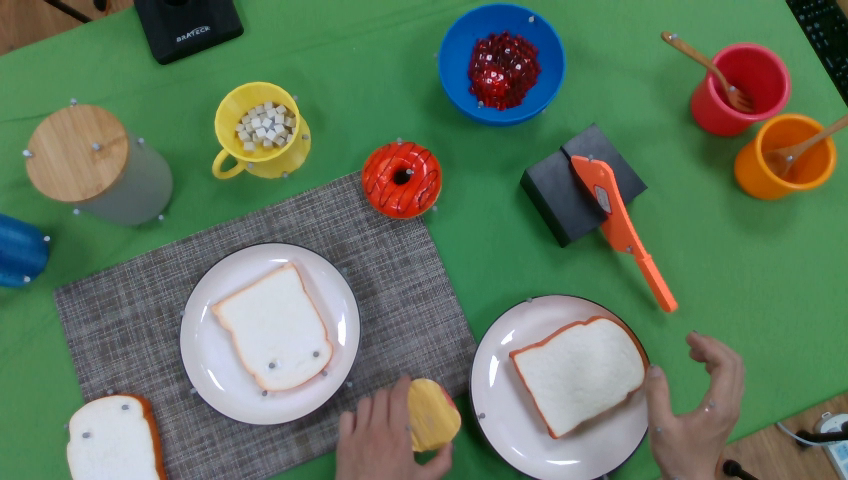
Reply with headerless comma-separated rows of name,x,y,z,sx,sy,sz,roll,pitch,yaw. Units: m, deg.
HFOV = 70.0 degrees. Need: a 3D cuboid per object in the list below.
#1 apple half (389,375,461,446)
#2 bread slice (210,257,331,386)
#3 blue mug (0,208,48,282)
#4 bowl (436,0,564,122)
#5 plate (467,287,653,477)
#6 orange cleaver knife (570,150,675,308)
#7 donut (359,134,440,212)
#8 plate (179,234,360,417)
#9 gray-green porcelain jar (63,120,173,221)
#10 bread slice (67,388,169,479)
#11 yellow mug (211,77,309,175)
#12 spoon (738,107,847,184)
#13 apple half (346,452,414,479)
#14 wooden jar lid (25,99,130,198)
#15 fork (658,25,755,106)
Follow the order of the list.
apple half,0.000,0.188,0.678,0.081,0.033,0.081,1,95,7
bread slice,-0.169,0.100,0.706,0.107,0.018,0.134,-33,80,-5
blue mug,-0.516,0.013,0.693,0.082,0.106,0.116,41,83,8
bowl,0.089,-0.207,0.743,0.151,0.077,0.151,0,80,1
plate,0.152,0.160,0.694,0.209,0.038,0.208,0,79,1
orange cleaver knife,0.229,-0.013,0.704,0.012,0.077,0.212,-33,102,-12
donut,-0.030,-0.081,0.734,0.099,0.048,0.098,0,80,0
plate,-0.176,0.098,0.705,0.208,0.039,0.207,0,80,1
gray-green porcelain jar,-0.360,-0.082,0.699,0.106,0.127,0.105,0,79,1
bread slice,-0.355,0.237,0.692,0.105,0.019,0.131,-15,81,-3
yellow mug,-0.207,-0.127,0.737,0.099,0.064,0.131,43,83,8
spoon,0.452,-0.126,0.689,0.022,0.194,0.041,-16,73,-48
apple half,-0.053,0.277,0.668,0.074,0.053,0.080,31,82,8
wooden jar lid,-0.361,-0.095,0.638,0.108,0.021,0.108,0,78,2
fork,0.333,-0.201,0.703,0.209,0.018,0.028,18,75,-38
